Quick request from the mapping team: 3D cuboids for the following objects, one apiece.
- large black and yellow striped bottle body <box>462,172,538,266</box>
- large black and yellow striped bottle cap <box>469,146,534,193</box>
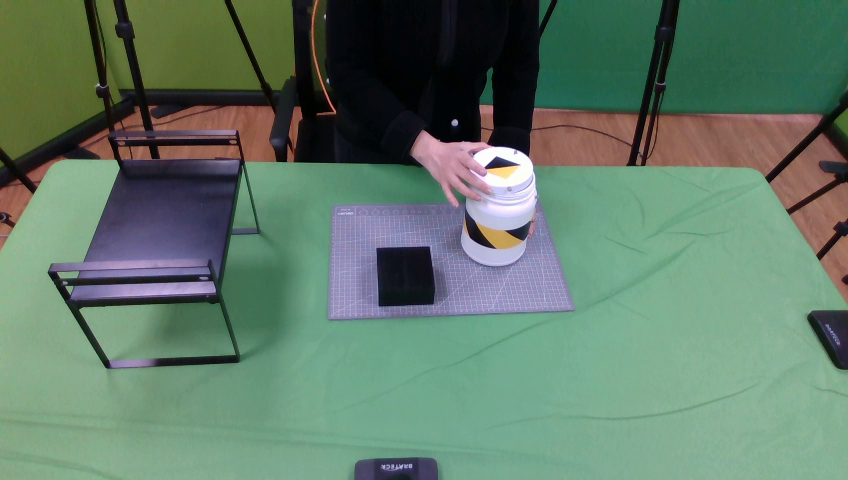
[{"bbox_3d":[0.143,-0.055,1.143,0.131,0.185,0.130,2,46,-1],"label":"large black and yellow striped bottle body"},{"bbox_3d":[0.138,-0.127,1.076,0.115,0.019,0.114,-1,47,1],"label":"large black and yellow striped bottle cap"}]
